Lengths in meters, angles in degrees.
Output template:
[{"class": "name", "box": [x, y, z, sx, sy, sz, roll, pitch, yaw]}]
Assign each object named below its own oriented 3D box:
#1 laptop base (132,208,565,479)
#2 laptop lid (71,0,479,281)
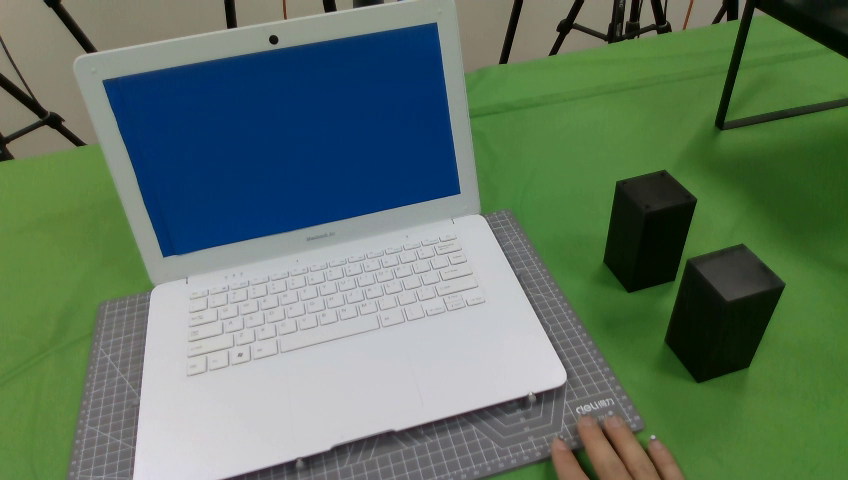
[{"class": "laptop base", "box": [-0.077, 0.082, 0.563, 0.355, 0.023, 0.233, -13, 45, -9]}, {"class": "laptop lid", "box": [-0.125, -0.098, 0.601, 0.357, 0.243, 0.013, -14, 24, -8]}]
